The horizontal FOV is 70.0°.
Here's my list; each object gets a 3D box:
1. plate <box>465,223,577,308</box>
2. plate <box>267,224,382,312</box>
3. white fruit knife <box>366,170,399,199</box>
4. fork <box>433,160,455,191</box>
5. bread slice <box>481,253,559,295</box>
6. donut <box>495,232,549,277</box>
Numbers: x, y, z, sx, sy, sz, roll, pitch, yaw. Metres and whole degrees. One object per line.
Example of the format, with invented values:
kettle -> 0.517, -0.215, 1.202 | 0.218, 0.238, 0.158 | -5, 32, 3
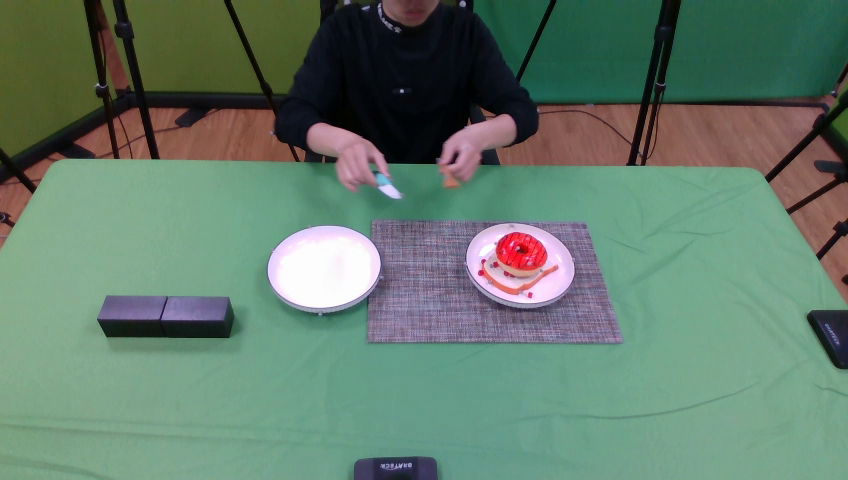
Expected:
plate -> 0.180, 0.051, 1.144 | 0.209, 0.038, 0.208 | 2, 46, -2
plate -> -0.182, 0.055, 1.120 | 0.208, 0.039, 0.206 | 2, 46, -2
white fruit knife -> -0.075, -0.102, 1.117 | 0.027, 0.016, 0.206 | -21, 23, -10
fork -> 0.034, -0.126, 1.147 | 0.028, 0.018, 0.206 | 30, 17, -16
bread slice -> 0.177, 0.050, 1.148 | 0.131, 0.019, 0.104 | -31, 55, -31
donut -> 0.180, 0.026, 1.119 | 0.099, 0.048, 0.098 | 2, 46, -2
